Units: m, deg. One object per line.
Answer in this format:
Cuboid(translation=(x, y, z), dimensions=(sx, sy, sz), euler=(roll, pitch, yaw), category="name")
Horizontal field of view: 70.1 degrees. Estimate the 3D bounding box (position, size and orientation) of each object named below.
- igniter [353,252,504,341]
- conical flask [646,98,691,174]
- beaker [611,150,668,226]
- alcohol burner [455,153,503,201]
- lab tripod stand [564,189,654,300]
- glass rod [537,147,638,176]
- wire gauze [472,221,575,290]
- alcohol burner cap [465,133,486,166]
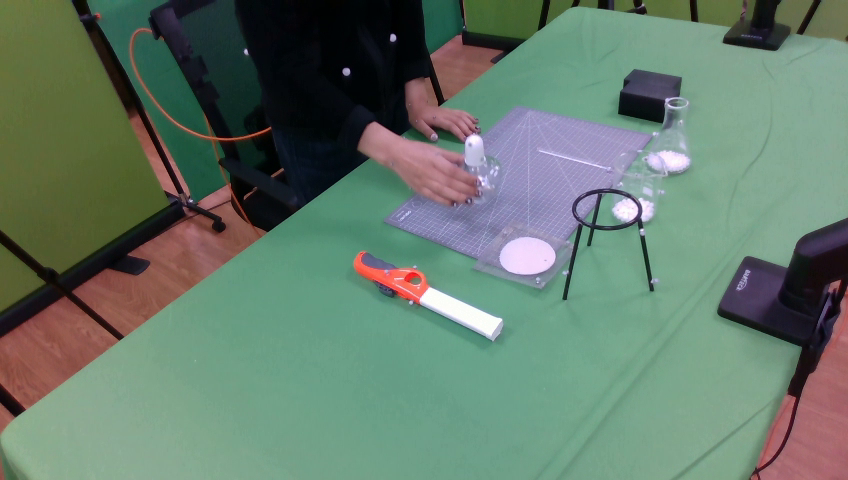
Cuboid(translation=(-0.005, 0.077, 0.889), dimensions=(0.274, 0.025, 0.057), euler=(23, 59, 33), category="igniter")
Cuboid(translation=(0.426, -0.180, 1.037), dimensions=(0.075, 0.122, 0.075), euler=(-5, 40, 5), category="conical flask")
Cuboid(translation=(0.337, -0.079, 0.953), dimensions=(0.083, 0.101, 0.074), euler=(25, 51, 33), category="beaker")
Cuboid(translation=(0.084, -0.119, 0.952), dimensions=(0.078, 0.120, 0.077), euler=(-7, 48, 9), category="alcohol burner")
Cuboid(translation=(0.251, 0.003, 0.845), dimensions=(0.148, 0.132, 0.147), euler=(-7, 39, 6), category="lab tripod stand")
Cuboid(translation=(0.294, -0.145, 1.104), dimensions=(0.198, 0.008, 0.008), euler=(22, 50, 31), category="glass rod")
Cuboid(translation=(0.158, 0.024, 0.933), dimensions=(0.120, 0.011, 0.125), euler=(21, 49, 31), category="wire gauze")
Cuboid(translation=(0.078, -0.141, 0.925), dimensions=(0.034, 0.048, 0.033), euler=(-3, 48, 4), category="alcohol burner cap")
